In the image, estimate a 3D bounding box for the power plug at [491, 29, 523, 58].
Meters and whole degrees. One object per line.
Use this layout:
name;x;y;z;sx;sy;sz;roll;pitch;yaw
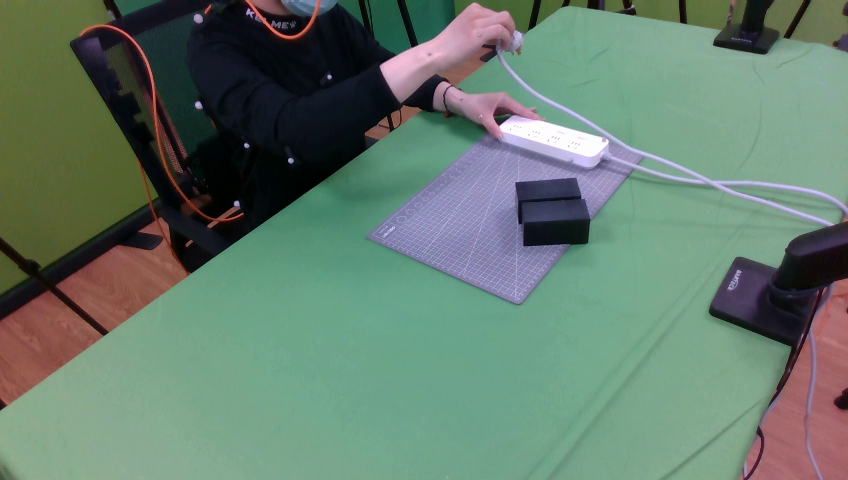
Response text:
power plug;0.134;-0.317;1.002;0.072;0.053;0.035;-51;41;-5

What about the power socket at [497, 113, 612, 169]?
power socket;0.240;-0.189;1.141;0.225;0.033;0.072;25;51;31
